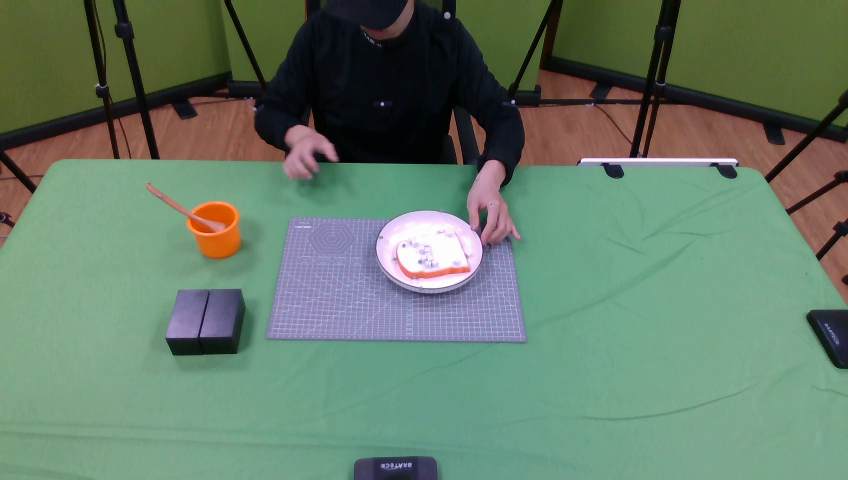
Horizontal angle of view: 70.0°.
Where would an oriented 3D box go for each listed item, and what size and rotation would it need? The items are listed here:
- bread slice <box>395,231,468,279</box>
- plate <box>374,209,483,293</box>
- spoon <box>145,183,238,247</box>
[{"bbox_3d":[0.011,0.030,1.158,0.132,0.019,0.104,-8,47,-14],"label":"bread slice"},{"bbox_3d":[0.009,0.024,1.160,0.209,0.038,0.208,2,46,-2],"label":"plate"},{"bbox_3d":[-0.424,-0.045,1.114,0.195,0.021,0.041,34,40,-28],"label":"spoon"}]
